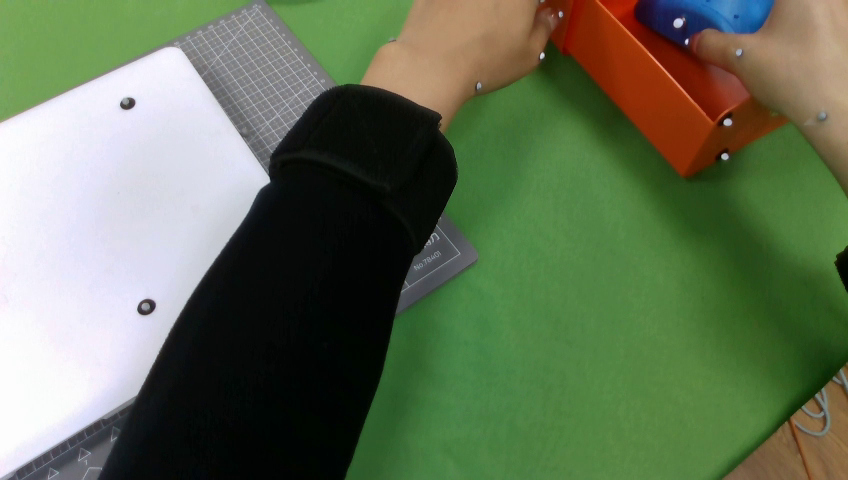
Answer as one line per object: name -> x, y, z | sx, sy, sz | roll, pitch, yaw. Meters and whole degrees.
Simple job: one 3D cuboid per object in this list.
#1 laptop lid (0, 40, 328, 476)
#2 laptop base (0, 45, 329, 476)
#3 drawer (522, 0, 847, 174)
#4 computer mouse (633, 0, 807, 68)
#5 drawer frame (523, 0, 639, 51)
laptop lid -> -0.264, 0.022, 0.369 | 0.357, 0.013, 0.239 | -30, 68, -13
laptop base -> -0.265, 0.026, 0.380 | 0.354, 0.023, 0.233 | -32, 70, -14
drawer -> 0.207, -0.176, 0.443 | 0.194, 0.074, 0.210 | -28, 64, -11
computer mouse -> 0.203, -0.165, 0.426 | 0.063, 0.041, 0.116 | -27, 42, -5
drawer frame -> 0.146, -0.279, 0.493 | 0.202, 0.083, 0.211 | -26, 64, -11
